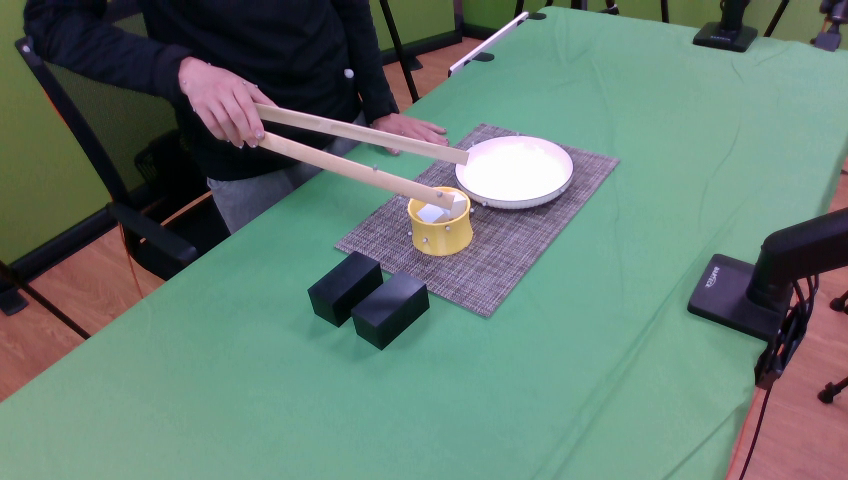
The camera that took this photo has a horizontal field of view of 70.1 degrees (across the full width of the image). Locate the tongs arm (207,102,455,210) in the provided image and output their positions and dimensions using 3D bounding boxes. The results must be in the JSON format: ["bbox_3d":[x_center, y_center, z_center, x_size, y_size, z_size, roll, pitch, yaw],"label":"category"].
[{"bbox_3d":[-0.137,-0.121,0.849,0.384,0.026,0.050,18,38,6],"label":"tongs arm"}]

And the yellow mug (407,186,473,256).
[{"bbox_3d":[0.021,-0.041,0.973,0.100,0.064,0.129,-19,42,-12],"label":"yellow mug"}]

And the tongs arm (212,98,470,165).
[{"bbox_3d":[-0.121,-0.161,0.910,0.388,0.028,0.028,11,41,-4],"label":"tongs arm"}]

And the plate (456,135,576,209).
[{"bbox_3d":[0.161,-0.116,1.064,0.207,0.039,0.206,-4,40,4],"label":"plate"}]
